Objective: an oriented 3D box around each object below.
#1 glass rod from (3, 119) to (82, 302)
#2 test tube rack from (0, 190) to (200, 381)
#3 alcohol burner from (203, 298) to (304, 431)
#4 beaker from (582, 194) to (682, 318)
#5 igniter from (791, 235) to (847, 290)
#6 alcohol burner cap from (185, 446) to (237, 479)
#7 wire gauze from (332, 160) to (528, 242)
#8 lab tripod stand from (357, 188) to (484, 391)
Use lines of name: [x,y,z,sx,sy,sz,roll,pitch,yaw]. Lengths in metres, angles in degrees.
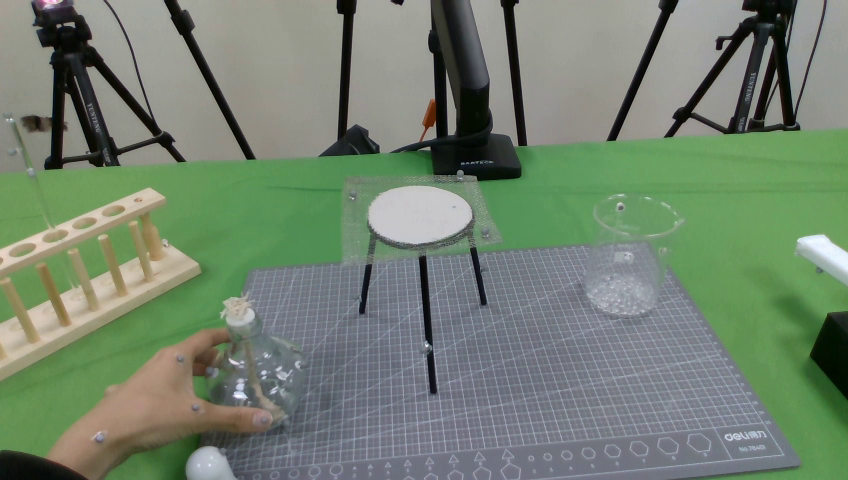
glass rod: [-0.346,-0.018,0.554,0.008,0.201,0.008,2,36,-1]
test tube rack: [-0.349,0.044,0.582,0.066,0.086,0.242,25,43,34]
alcohol burner: [-0.135,0.092,0.471,0.078,0.120,0.077,0,34,1]
beaker: [0.193,0.017,0.576,0.084,0.101,0.073,0,35,3]
igniter: [0.399,0.070,0.474,0.057,0.025,0.273,-9,31,-10]
alcohol burner cap: [-0.152,0.166,0.428,0.034,0.048,0.033,1,36,0]
wire gauze: [0.001,-0.032,0.480,0.125,0.011,0.120,-10,31,-25]
lab tripod stand: [-0.001,0.034,0.530,0.148,0.132,0.147,0,35,0]
